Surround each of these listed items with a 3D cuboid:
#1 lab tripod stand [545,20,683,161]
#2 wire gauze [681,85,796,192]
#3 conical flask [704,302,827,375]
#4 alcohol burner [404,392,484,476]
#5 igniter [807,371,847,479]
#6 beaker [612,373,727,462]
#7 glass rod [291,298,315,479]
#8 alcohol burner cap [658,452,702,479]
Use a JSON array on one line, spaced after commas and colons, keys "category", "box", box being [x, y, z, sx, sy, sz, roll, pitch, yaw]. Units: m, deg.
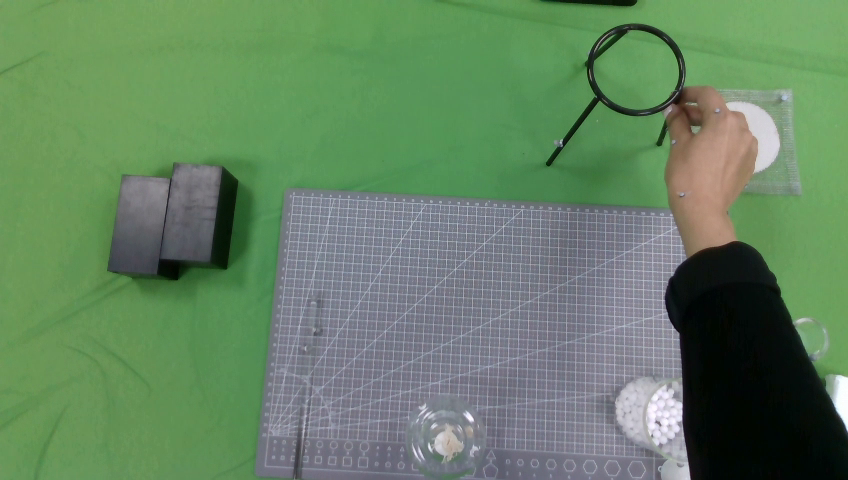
[{"category": "lab tripod stand", "box": [0.190, -0.144, 0.614, 0.148, 0.132, 0.148, 0, 82, 0]}, {"category": "wire gauze", "box": [0.350, -0.115, 0.672, 0.125, 0.011, 0.121, 2, 80, -2]}, {"category": "conical flask", "box": [0.329, 0.092, 0.578, 0.075, 0.122, 0.075, 0, 79, 1]}, {"category": "alcohol burner", "box": [0.019, 0.182, 0.563, 0.078, 0.119, 0.077, 0, 78, 2]}, {"category": "igniter", "box": [0.387, 0.266, 0.596, 0.057, 0.025, 0.275, 18, 80, -7]}, {"category": "beaker", "box": [0.228, 0.161, 0.575, 0.084, 0.100, 0.073, -20, 80, -4]}, {"category": "glass rod", "box": [-0.124, 0.159, 0.620, 0.008, 0.008, 0.199, 4, 83, 1]}, {"category": "alcohol burner cap", "box": [0.253, 0.228, 0.592, 0.034, 0.048, 0.033, 0, 79, 0]}]
